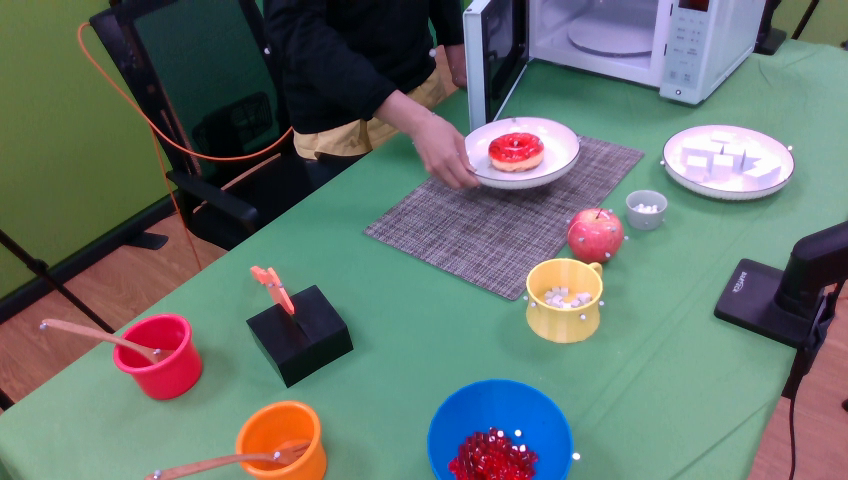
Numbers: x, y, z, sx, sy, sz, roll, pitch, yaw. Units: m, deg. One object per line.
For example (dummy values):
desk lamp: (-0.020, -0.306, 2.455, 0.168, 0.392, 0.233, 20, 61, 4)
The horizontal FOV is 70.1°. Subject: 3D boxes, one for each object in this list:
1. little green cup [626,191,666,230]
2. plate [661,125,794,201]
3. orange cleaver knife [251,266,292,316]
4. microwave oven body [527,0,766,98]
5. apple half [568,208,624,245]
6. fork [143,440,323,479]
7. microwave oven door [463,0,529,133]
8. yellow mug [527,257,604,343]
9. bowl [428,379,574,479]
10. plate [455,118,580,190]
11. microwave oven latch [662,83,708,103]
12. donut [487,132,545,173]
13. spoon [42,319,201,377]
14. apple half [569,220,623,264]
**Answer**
little green cup: (0.352, -0.046, 0.963, 0.061, 0.039, 0.061, -4, 40, 4)
plate: (0.513, -0.128, 1.035, 0.207, 0.039, 0.206, -4, 40, 4)
orange cleaver knife: (-0.221, 0.071, 0.873, 0.012, 0.077, 0.210, -25, 11, -21)
microwave oven body: (0.472, -0.513, 1.317, 0.438, 0.261, 0.327, 25, 51, 34)
apple half: (0.259, -0.014, 0.914, 0.080, 0.075, 0.053, 0, 36, 15)
fork: (-0.189, 0.231, 0.631, 0.028, 0.018, 0.209, 38, 14, 37)
microwave oven door: (0.156, -0.410, 1.236, 0.039, 0.245, 0.355, 10, 43, 19)
yellow mug: (0.201, 0.072, 0.825, 0.131, 0.064, 0.099, -32, 46, -27)
bowl: (0.082, 0.233, 0.644, 0.151, 0.077, 0.150, -4, 39, 4)
plate: (0.160, -0.143, 1.035, 0.209, 0.038, 0.208, -5, 38, 5)
microwave oven latch: (0.518, -0.296, 1.204, 0.078, 0.029, 0.030, 27, 52, 35)
donut: (0.157, -0.151, 1.027, 0.099, 0.048, 0.098, -6, 37, 5)
spoon: (-0.385, 0.135, 0.779, 0.195, 0.021, 0.041, 29, 36, -26)
apple half: (0.251, 0.010, 0.884, 0.081, 0.081, 0.032, 3, 37, 12)
